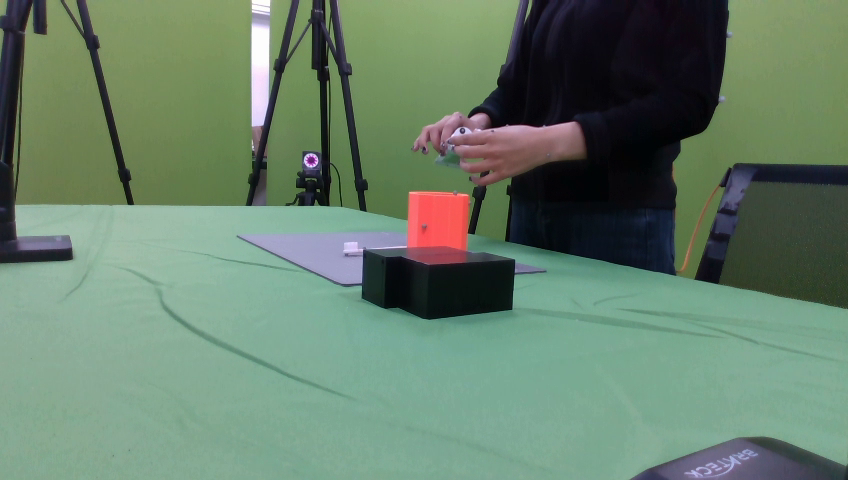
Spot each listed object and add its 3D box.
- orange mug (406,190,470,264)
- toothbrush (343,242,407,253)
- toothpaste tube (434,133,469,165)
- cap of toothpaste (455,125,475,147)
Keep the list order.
[{"bbox_3d":[0.027,-0.023,0.866,0.083,0.101,0.126,6,12,24],"label":"orange mug"},{"bbox_3d":[-0.039,0.010,0.905,0.183,0.016,0.014,-1,-7,-35],"label":"toothbrush"},{"bbox_3d":[0.057,-0.160,1.077,0.055,0.034,0.165,15,-9,-6],"label":"toothpaste tube"},{"bbox_3d":[0.067,-0.171,0.996,0.037,0.037,0.011,0,0,-18],"label":"cap of toothpaste"}]
